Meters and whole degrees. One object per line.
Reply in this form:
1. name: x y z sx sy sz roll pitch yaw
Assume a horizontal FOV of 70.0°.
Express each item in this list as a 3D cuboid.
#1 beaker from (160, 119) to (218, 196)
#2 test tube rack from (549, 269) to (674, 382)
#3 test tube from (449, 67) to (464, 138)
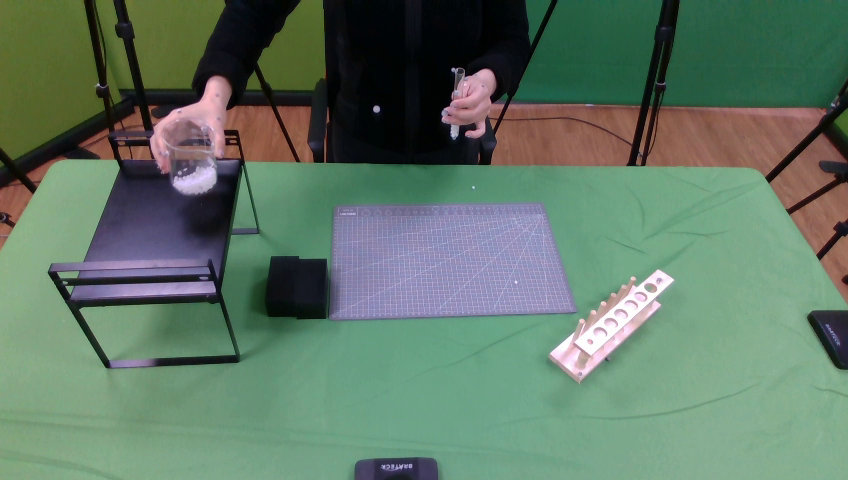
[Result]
1. beaker: -0.354 -0.122 0.929 0.084 0.100 0.074 31 50 12
2. test tube rack: 0.325 0.134 1.047 0.242 0.085 0.066 -32 56 -30
3. test tube: 0.053 -0.222 1.000 0.017 0.151 0.017 1 57 -1
